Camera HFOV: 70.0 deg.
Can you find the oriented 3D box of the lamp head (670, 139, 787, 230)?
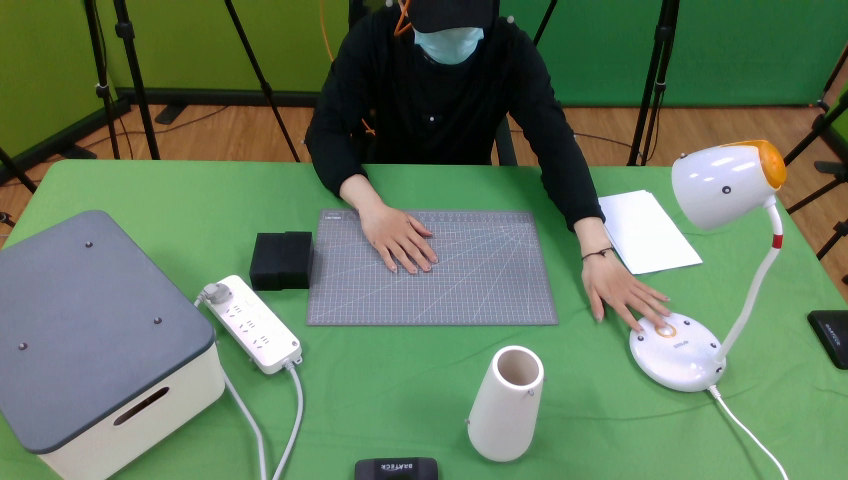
[{"bbox_3d":[0.415,-0.079,0.812,0.113,0.123,0.112,13,70,-37],"label":"lamp head"}]

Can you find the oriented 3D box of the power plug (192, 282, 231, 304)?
[{"bbox_3d":[-0.368,0.098,1.039,0.072,0.053,0.035,-26,55,-20],"label":"power plug"}]

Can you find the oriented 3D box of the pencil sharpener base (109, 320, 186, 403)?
[{"bbox_3d":[-0.419,0.187,0.919,0.077,0.107,0.061,-30,54,-27],"label":"pencil sharpener base"}]

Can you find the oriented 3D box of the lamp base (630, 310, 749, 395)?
[{"bbox_3d":[0.447,0.143,0.984,0.161,0.181,0.178,-24,55,-24],"label":"lamp base"}]

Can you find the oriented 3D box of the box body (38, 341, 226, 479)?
[{"bbox_3d":[-0.504,0.154,0.917,0.362,0.161,0.254,36,54,27],"label":"box body"}]

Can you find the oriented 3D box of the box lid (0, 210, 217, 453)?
[{"bbox_3d":[-0.501,0.102,0.865,0.369,0.015,0.263,36,54,27],"label":"box lid"}]

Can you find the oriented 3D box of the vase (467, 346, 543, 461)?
[{"bbox_3d":[0.116,0.234,0.861,0.098,0.201,0.097,1,47,-1],"label":"vase"}]

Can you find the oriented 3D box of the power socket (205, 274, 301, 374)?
[{"bbox_3d":[-0.296,0.140,1.035,0.072,0.033,0.225,-32,57,-29],"label":"power socket"}]

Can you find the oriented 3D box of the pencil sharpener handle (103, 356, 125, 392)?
[{"bbox_3d":[-0.460,0.200,0.887,0.030,0.068,0.036,-30,61,-27],"label":"pencil sharpener handle"}]
